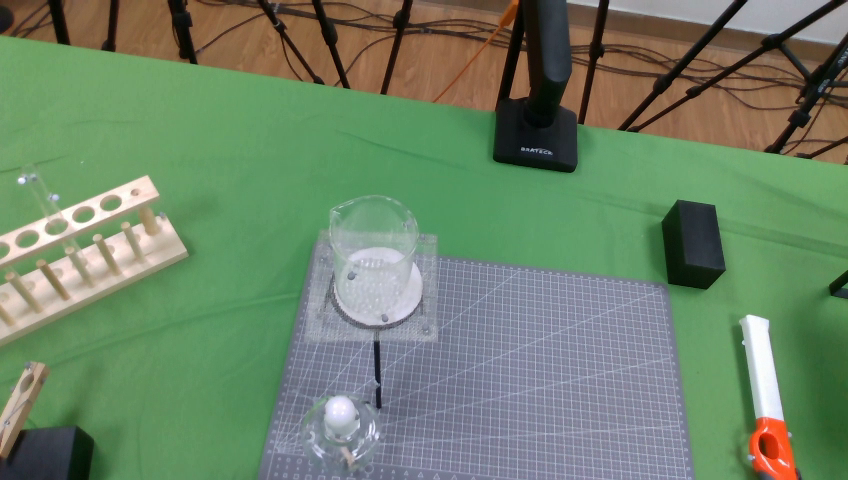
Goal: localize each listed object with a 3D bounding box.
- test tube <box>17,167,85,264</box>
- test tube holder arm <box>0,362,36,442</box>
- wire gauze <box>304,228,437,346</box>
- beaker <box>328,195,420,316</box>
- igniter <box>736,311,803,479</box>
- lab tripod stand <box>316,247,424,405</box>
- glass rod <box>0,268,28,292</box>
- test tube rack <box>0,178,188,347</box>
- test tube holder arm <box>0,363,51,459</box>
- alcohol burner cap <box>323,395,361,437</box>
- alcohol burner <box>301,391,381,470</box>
[{"bbox_3d":[-0.388,-0.020,0.637,0.017,0.151,0.017,4,52,-5],"label":"test tube"},{"bbox_3d":[-0.387,0.194,0.539,0.013,0.015,0.177,9,56,0],"label":"test tube holder arm"},{"bbox_3d":[-0.049,0.043,0.582,0.121,0.011,0.124,2,61,-3],"label":"wire gauze"},{"bbox_3d":[-0.049,0.017,0.540,0.083,0.101,0.073,29,59,12],"label":"beaker"},{"bbox_3d":[0.380,0.205,0.668,0.057,0.025,0.274,16,56,-8],"label":"igniter"},{"bbox_3d":[-0.051,0.082,0.634,0.148,0.132,0.147,4,58,-6],"label":"lab tripod stand"},{"bbox_3d":[-0.445,0.000,0.597,0.008,0.201,0.008,0,53,0],"label":"glass rod"},{"bbox_3d":[-0.397,0.029,0.663,0.242,0.086,0.066,-29,64,-22],"label":"test tube rack"},{"bbox_3d":[-0.375,0.158,0.565,0.010,0.015,0.087,10,56,1],"label":"test tube holder arm"},{"bbox_3d":[-0.076,0.158,0.551,0.034,0.048,0.033,1,61,-1],"label":"alcohol burner cap"},{"bbox_3d":[-0.079,0.177,0.582,0.078,0.120,0.077,4,56,-6],"label":"alcohol burner"}]
